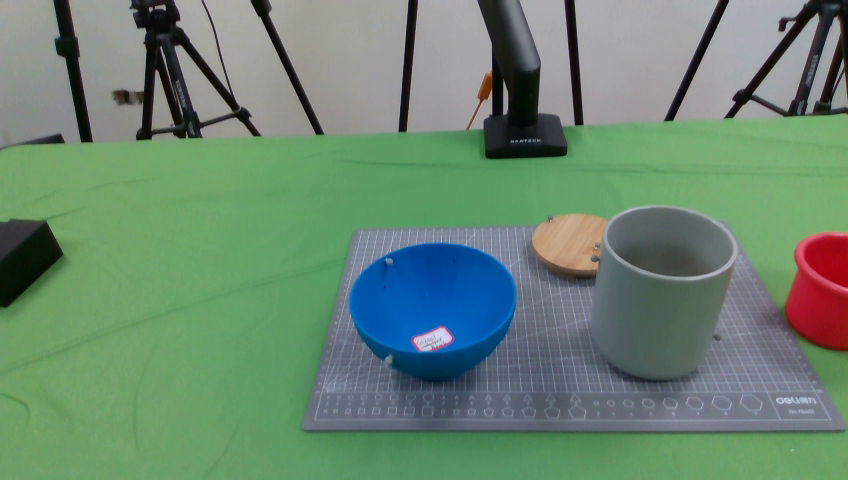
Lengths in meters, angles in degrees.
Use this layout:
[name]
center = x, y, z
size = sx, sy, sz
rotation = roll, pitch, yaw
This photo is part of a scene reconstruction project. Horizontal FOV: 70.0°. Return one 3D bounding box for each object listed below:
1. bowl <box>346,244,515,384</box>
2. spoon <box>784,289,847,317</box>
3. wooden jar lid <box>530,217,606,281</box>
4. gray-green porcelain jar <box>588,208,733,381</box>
[bowl]
center = 0.008, 0.079, 0.559
size = 0.151, 0.077, 0.150
rotation = -3, 36, 2
[spoon]
center = 0.414, 0.037, 0.525
size = 0.041, 0.193, 0.021
rotation = -38, 93, -40
[wooden jar lid]
center = 0.174, 0.010, 0.687
size = 0.108, 0.021, 0.107
rotation = -3, 34, 2
[gray-green porcelain jar]
center = 0.202, 0.052, 0.535
size = 0.106, 0.127, 0.105
rotation = -3, 36, 2
